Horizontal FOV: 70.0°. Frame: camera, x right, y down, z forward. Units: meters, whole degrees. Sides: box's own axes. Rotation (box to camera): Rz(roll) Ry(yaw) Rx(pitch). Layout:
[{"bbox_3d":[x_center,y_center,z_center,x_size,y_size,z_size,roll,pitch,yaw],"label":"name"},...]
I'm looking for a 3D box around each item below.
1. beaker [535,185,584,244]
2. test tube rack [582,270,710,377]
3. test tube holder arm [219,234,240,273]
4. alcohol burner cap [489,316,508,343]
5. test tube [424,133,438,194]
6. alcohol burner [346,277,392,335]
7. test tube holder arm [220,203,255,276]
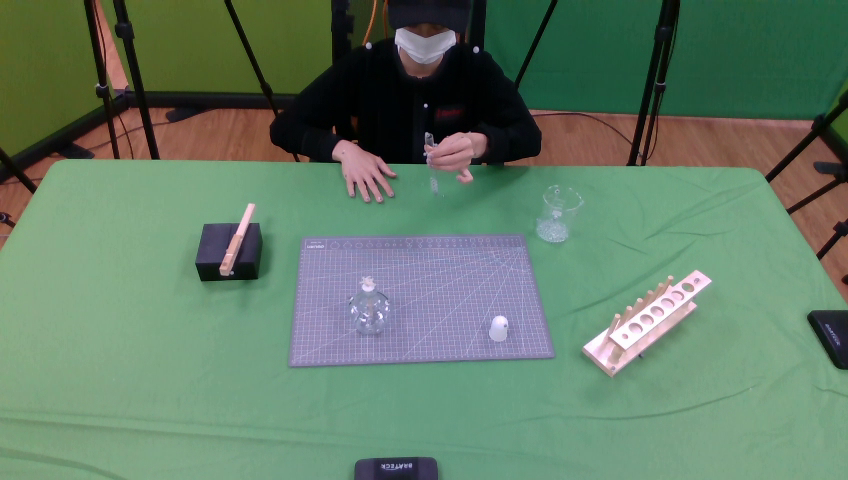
[{"bbox_3d":[0.268,-0.048,1.213,0.084,0.101,0.073,6,46,0],"label":"beaker"},{"bbox_3d":[0.389,0.132,1.057,0.242,0.085,0.066,-28,53,-28],"label":"test tube rack"},{"bbox_3d":[-0.344,0.023,1.076,0.015,0.010,0.087,5,45,1],"label":"test tube holder arm"},{"bbox_3d":[0.130,0.151,1.045,0.034,0.048,0.033,2,46,-2],"label":"alcohol burner cap"},{"bbox_3d":[0.014,-0.141,1.146,0.017,0.151,0.017,-3,51,4],"label":"test tube"},{"bbox_3d":[-0.093,0.106,1.021,0.078,0.120,0.077,1,46,-1],"label":"alcohol burner"},{"bbox_3d":[-0.341,-0.005,1.112,0.015,0.013,0.177,5,46,1],"label":"test tube holder arm"}]
